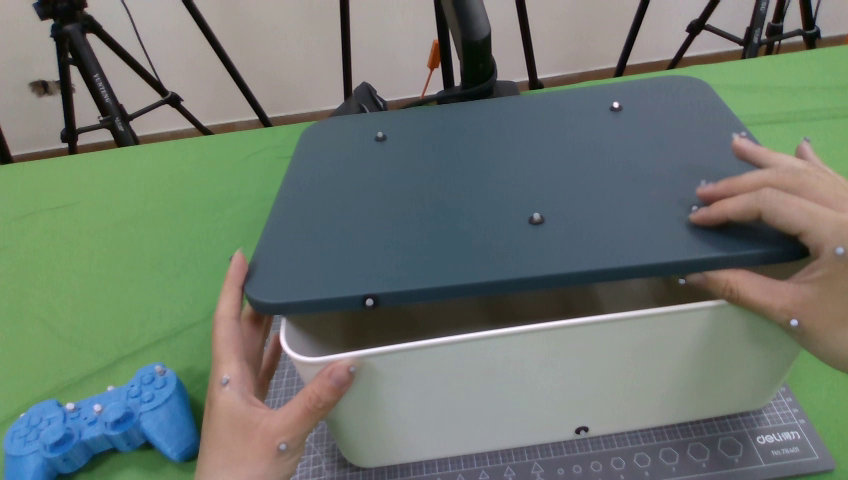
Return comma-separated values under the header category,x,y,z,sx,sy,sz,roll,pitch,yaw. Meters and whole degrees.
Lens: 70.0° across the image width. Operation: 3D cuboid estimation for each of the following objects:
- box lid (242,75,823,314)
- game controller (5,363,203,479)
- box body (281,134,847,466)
category,x,y,z,sx,sy,sz,roll,pitch,yaw
box lid,0.061,-0.050,0.468,0.371,0.015,0.261,-6,37,6
game controller,-0.273,0.161,0.512,0.155,0.052,0.096,-18,39,-11
box body,0.088,0.025,0.507,0.364,0.162,0.251,-9,41,0
